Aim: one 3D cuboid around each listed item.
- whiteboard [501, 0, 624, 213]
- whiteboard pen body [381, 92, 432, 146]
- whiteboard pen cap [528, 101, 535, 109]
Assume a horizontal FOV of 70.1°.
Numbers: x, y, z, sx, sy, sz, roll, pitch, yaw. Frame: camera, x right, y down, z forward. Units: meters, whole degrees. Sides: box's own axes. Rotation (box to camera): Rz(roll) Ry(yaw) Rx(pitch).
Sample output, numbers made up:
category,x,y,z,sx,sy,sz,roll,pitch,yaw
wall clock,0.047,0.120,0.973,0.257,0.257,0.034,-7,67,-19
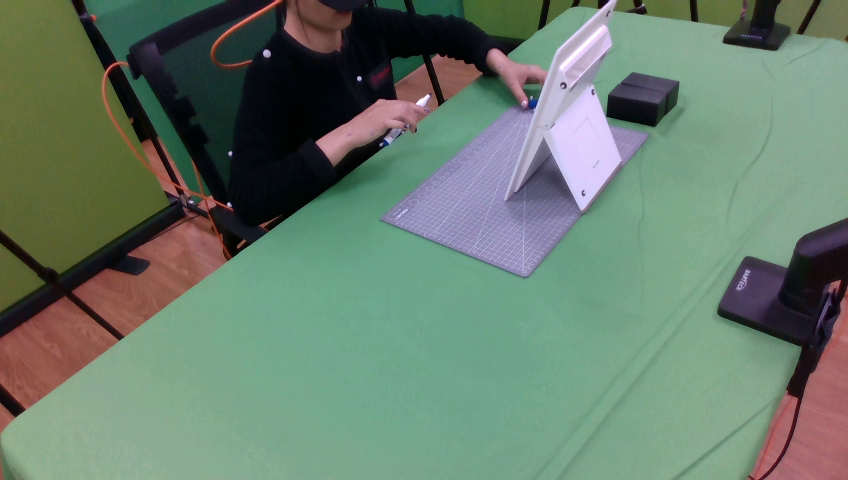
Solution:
category,x,y,z,sx,sy,sz,roll,pitch,yaw
whiteboard,0.271,-0.189,0.977,0.143,0.306,0.218,34,53,16
whiteboard pen body,-0.031,-0.228,1.127,0.017,0.017,0.141,31,74,37
whiteboard pen cap,0.235,-0.285,1.273,0.033,0.018,0.018,4,42,6
